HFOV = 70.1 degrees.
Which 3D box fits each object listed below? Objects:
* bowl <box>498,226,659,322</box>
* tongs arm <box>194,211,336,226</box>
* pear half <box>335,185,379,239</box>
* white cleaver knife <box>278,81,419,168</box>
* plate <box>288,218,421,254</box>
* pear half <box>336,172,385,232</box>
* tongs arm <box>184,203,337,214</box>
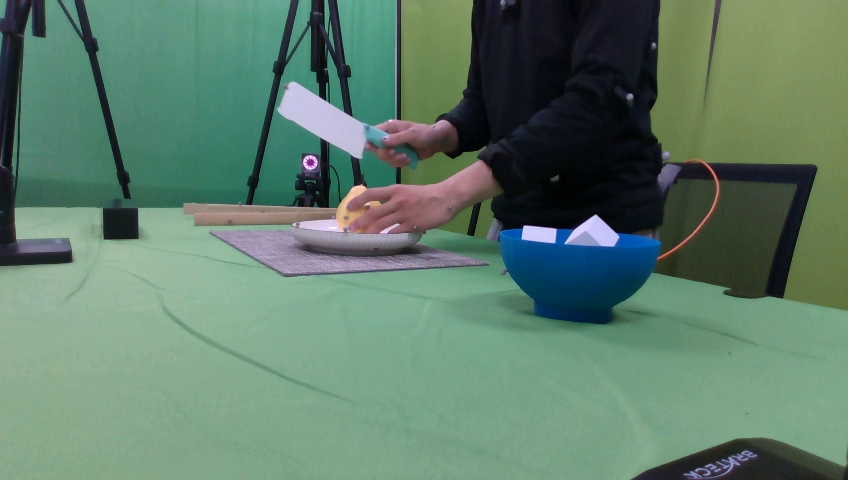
[{"bbox_3d":[0.145,0.032,0.585,0.151,0.077,0.151,2,7,0],"label":"bowl"},{"bbox_3d":[-0.298,-0.049,1.307,0.390,0.028,0.028,-3,8,-38],"label":"tongs arm"},{"bbox_3d":[-0.111,-0.046,0.976,0.071,0.088,0.031,-4,12,-26],"label":"pear half"},{"bbox_3d":[-0.116,-0.174,0.998,0.288,0.066,0.021,22,-12,-41],"label":"white cleaver knife"},{"bbox_3d":[-0.109,-0.007,0.956,0.208,0.039,0.207,2,7,0],"label":"plate"},{"bbox_3d":[-0.097,-0.050,0.942,0.077,0.110,0.055,-6,10,-24],"label":"pear half"},{"bbox_3d":[-0.337,-0.065,1.376,0.387,0.026,0.050,0,10,-25],"label":"tongs arm"}]
